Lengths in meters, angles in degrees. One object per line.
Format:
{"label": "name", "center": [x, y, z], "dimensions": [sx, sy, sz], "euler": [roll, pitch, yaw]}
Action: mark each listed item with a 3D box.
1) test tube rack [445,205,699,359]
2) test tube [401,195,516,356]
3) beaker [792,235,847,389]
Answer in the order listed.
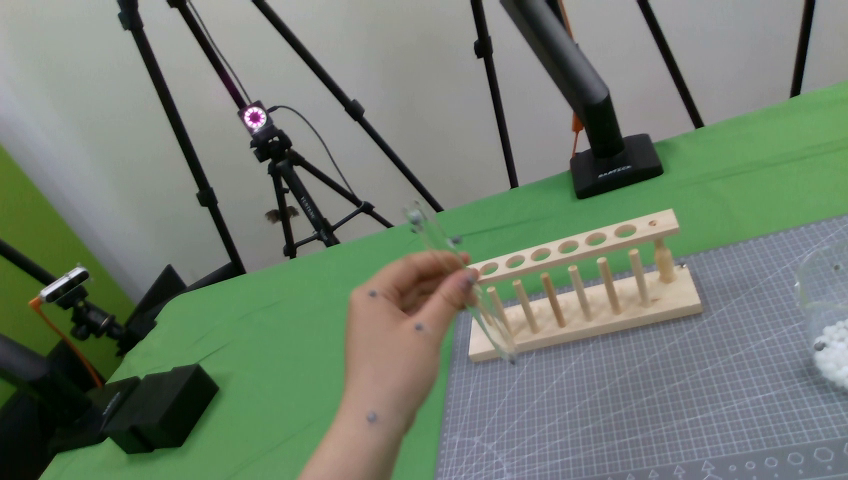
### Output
{"label": "test tube rack", "center": [0.148, 0.049, 0.638], "dimensions": [0.242, 0.086, 0.066], "euler": [-17, 30, 19]}
{"label": "test tube", "center": [0.028, 0.029, 0.415], "dimensions": [0.017, 0.152, 0.017], "euler": [-24, 32, 16]}
{"label": "beaker", "center": [0.324, 0.059, 0.455], "dimensions": [0.084, 0.101, 0.073], "euler": [-27, 28, 4]}
